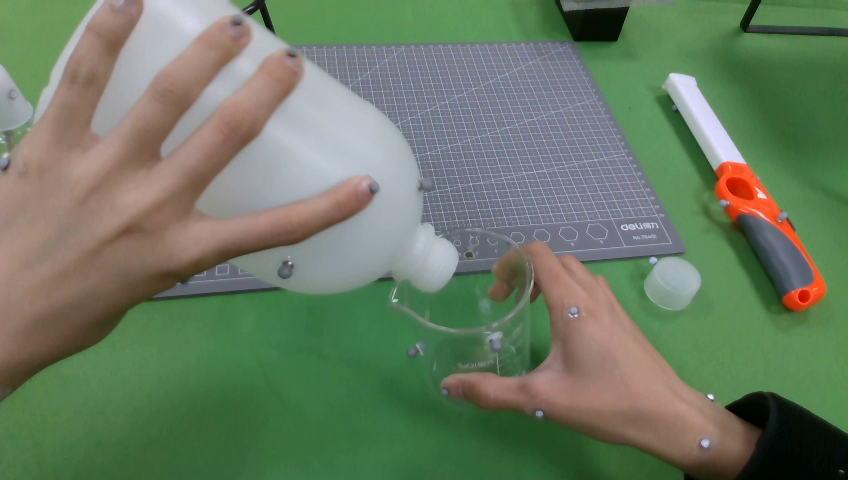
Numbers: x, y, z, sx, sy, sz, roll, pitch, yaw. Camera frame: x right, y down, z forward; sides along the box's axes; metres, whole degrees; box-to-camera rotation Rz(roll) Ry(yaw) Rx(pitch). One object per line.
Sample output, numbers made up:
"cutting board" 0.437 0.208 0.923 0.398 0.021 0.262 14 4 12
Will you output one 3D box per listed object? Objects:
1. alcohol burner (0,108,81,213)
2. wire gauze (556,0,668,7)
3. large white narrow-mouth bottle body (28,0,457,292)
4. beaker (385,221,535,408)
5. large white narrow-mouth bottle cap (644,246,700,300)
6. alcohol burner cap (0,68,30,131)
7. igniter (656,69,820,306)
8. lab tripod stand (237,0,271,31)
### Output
"alcohol burner" -0.291 -0.077 0.427 0.078 0.120 0.077 4 49 -4
"wire gauze" 0.188 -0.290 0.660 0.122 0.011 0.123 -3 52 -11
"large white narrow-mouth bottle body" -0.066 -0.032 0.292 0.196 0.102 0.101 33 47 -23
"beaker" 0.024 0.051 0.365 0.084 0.101 0.073 -16 48 -5
"large white narrow-mouth bottle cap" 0.188 0.025 0.460 0.038 0.024 0.037 3 51 -3
"alcohol burner cap" -0.288 -0.098 0.398 0.034 0.048 0.033 3 57 -4
"igniter" 0.268 -0.059 0.533 0.057 0.025 0.273 4 51 -17
"lab tripod stand" -0.163 -0.137 0.473 0.148 0.132 0.147 5 51 -5
